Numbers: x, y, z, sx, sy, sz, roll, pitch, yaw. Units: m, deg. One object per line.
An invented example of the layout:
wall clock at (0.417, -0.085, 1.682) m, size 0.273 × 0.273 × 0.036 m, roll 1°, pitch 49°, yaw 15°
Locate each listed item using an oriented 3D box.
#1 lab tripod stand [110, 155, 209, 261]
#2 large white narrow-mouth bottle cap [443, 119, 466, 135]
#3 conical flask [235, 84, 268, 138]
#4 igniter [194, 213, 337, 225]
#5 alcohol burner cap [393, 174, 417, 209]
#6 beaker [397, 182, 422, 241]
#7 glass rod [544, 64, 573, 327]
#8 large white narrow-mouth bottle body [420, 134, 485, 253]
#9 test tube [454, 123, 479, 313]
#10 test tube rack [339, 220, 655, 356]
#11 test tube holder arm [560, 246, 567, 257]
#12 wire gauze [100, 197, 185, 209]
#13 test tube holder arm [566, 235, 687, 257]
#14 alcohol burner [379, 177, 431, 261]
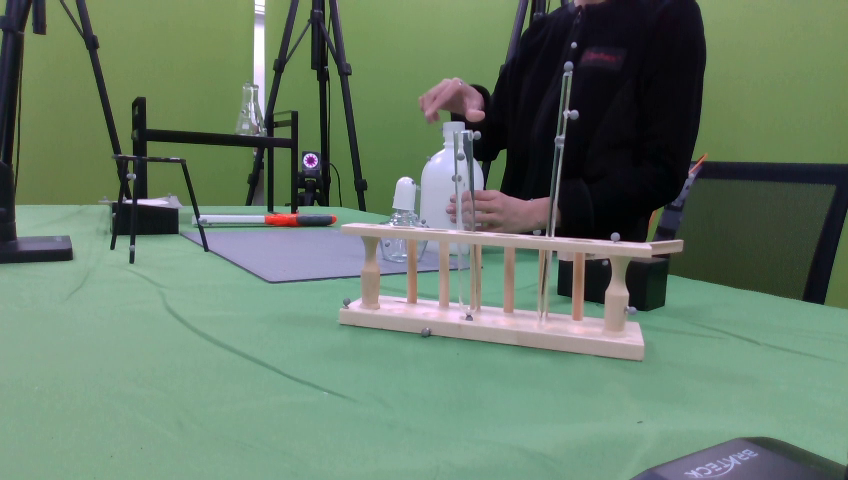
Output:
lab tripod stand at (-0.361, -0.046, 0.806) m, size 0.148 × 0.131 × 0.148 m, roll 2°, pitch 5°, yaw 0°
large white narrow-mouth bottle cap at (0.048, -0.176, 0.942) m, size 0.038 × 0.024 × 0.037 m, roll 2°, pitch 8°, yaw 0°
conical flask at (-0.402, -0.299, 1.406) m, size 0.075 × 0.122 × 0.075 m, roll 2°, pitch 7°, yaw 0°
igniter at (-0.306, -0.042, 1.196) m, size 0.278 × 0.025 × 0.057 m, roll -2°, pitch -2°, yaw -31°
alcohol burner cap at (-0.025, -0.067, 0.834) m, size 0.034 × 0.048 × 0.034 m, roll 8°, pitch 7°, yaw -1°
beaker at (-0.011, -0.051, 1.078) m, size 0.074 × 0.100 × 0.083 m, roll -2°, pitch 9°, yaw -27°
glass rod at (0.101, -0.028, 0.453) m, size 0.008 × 0.199 × 0.008 m, roll 1°, pitch 14°, yaw 0°
large white narrow-mouth bottle body at (0.046, -0.081, 0.956) m, size 0.102 × 0.194 × 0.102 m, roll 2°, pitch 8°, yaw 0°
test tube at (0.034, -0.016, 0.477) m, size 0.017 × 0.150 × 0.017 m, roll -2°, pitch 9°, yaw 1°
test tube rack at (0.056, 0.032, 0.495) m, size 0.242 × 0.085 × 0.067 m, roll 4°, pitch 7°, yaw 15°
test tube holder arm at (0.173, 0.007, 0.611) m, size 0.088 × 0.015 × 0.010 m, roll -3°, pitch 9°, yaw -30°
wire gauze at (-0.469, -0.062, 1.008) m, size 0.126 × 0.011 × 0.121 m, roll -2°, pitch 8°, yaw -25°
test tube holder arm at (0.215, 0.006, 0.630) m, size 0.179 × 0.015 × 0.013 m, roll -3°, pitch 9°, yaw -31°
alcohol burner at (-0.027, -0.031, 0.838) m, size 0.078 × 0.119 × 0.078 m, roll 0°, pitch 6°, yaw 0°
